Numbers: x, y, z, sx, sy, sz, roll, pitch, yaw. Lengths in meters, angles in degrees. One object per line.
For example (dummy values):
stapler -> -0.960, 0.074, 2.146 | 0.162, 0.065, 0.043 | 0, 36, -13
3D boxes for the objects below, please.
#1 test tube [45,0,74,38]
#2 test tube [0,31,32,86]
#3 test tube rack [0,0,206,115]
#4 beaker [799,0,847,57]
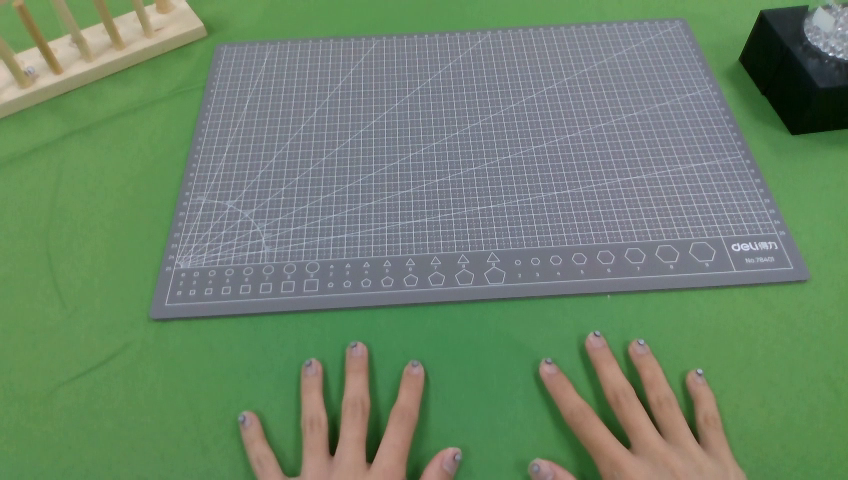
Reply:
test tube -> -0.328, -0.242, 0.510 | 0.017, 0.151, 0.017 | 0, 47, 0
test tube -> -0.358, -0.185, 0.478 | 0.017, 0.152, 0.017 | -1, 54, 1
test tube rack -> -0.332, -0.191, 0.536 | 0.242, 0.086, 0.066 | -30, 59, -18
beaker -> 0.330, -0.195, 0.444 | 0.074, 0.101, 0.083 | -26, 57, -15
